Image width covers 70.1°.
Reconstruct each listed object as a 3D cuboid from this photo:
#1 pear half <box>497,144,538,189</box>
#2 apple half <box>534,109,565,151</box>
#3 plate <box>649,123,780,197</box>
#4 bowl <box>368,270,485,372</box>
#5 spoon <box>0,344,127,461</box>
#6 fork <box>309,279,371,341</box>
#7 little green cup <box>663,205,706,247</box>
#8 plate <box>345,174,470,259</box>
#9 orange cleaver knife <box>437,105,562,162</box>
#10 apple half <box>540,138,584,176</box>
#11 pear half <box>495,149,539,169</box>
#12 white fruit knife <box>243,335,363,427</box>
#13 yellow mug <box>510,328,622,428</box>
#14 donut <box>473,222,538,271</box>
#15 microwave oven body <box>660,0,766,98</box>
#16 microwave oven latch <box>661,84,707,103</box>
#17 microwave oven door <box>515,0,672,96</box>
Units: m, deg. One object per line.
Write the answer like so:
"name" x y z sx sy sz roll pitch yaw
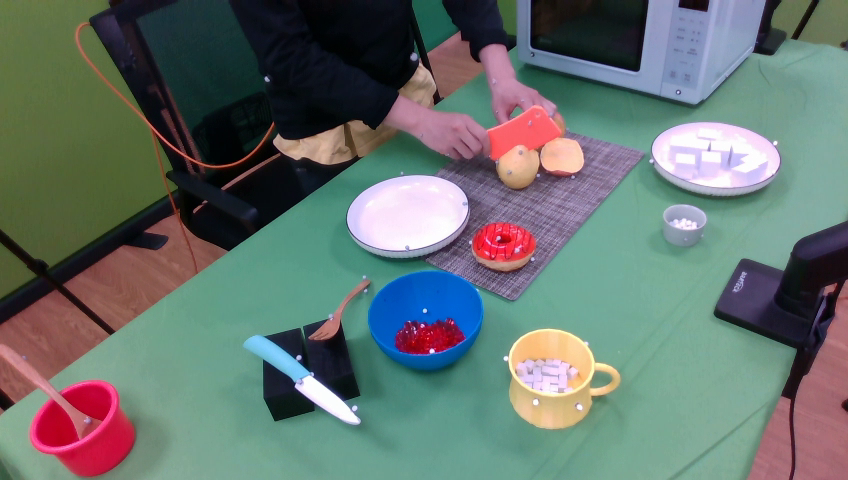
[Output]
"pear half" 0.159 -0.120 1.035 0.070 0.088 0.031 6 46 4
"apple half" 0.224 -0.212 1.145 0.080 0.075 0.053 -6 36 9
"plate" 0.497 -0.135 1.046 0.207 0.039 0.206 -4 40 4
"bowl" 0.007 0.118 0.791 0.151 0.077 0.150 -5 40 4
"spoon" -0.433 0.191 0.721 0.194 0.021 0.042 47 52 -6
"fork" -0.109 0.093 0.832 0.028 0.018 0.207 -4 19 15
"little green cup" 0.396 -0.020 0.926 0.061 0.039 0.061 -4 40 4
"plate" -0.026 -0.037 1.004 0.209 0.038 0.208 -4 40 4
"orange cleaver knife" 0.124 -0.167 1.023 0.210 0.077 0.012 -15 33 27
"apple half" 0.247 -0.146 1.089 0.081 0.033 0.081 -1 65 4
"pear half" 0.165 -0.155 1.056 0.076 0.110 0.056 9 44 8
"white fruit knife" -0.148 0.167 0.729 0.206 0.016 0.027 27 80 31
"yellow mug" 0.169 0.164 0.722 0.130 0.064 0.099 0 41 8
"donut" 0.123 0.008 0.923 0.099 0.048 0.098 -3 38 3
"microwave oven body" 0.472 -0.513 1.317 0.438 0.261 0.327 26 51 34
"microwave oven latch" 0.517 -0.296 1.204 0.078 0.029 0.030 27 52 35
"microwave oven door" 0.343 -0.455 1.259 0.353 0.245 0.039 26 51 33
